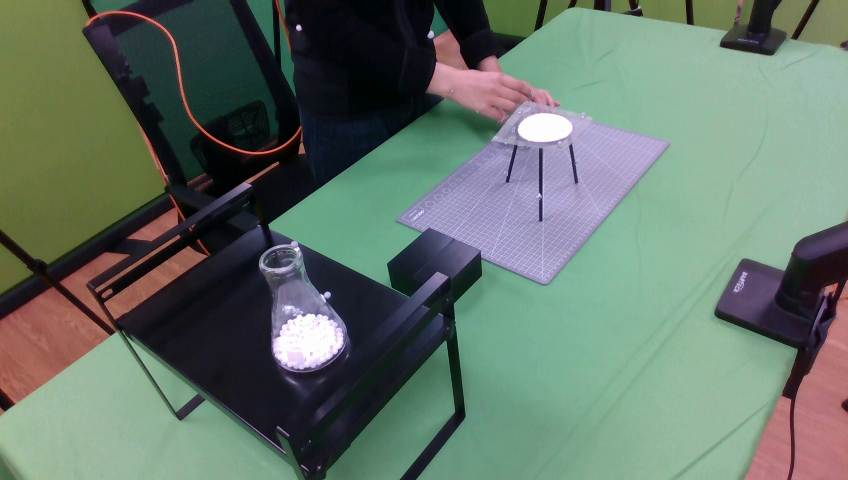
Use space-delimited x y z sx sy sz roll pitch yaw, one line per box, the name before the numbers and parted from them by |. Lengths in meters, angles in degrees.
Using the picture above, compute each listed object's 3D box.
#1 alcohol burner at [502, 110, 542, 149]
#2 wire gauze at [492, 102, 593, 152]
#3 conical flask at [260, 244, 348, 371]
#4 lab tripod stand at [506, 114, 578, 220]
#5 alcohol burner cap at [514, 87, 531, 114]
alcohol burner | 0.186 -0.235 1.149 0.078 0.119 0.077 -4 43 5
wire gauze | 0.190 -0.180 0.964 0.120 0.011 0.125 19 48 27
conical flask | -0.118 0.060 0.565 0.075 0.122 0.075 -5 41 4
lab tripod stand | 0.198 -0.128 1.005 0.148 0.132 0.147 -3 42 3
alcohol burner cap | 0.183 -0.262 1.124 0.034 0.048 0.033 -5 47 6
